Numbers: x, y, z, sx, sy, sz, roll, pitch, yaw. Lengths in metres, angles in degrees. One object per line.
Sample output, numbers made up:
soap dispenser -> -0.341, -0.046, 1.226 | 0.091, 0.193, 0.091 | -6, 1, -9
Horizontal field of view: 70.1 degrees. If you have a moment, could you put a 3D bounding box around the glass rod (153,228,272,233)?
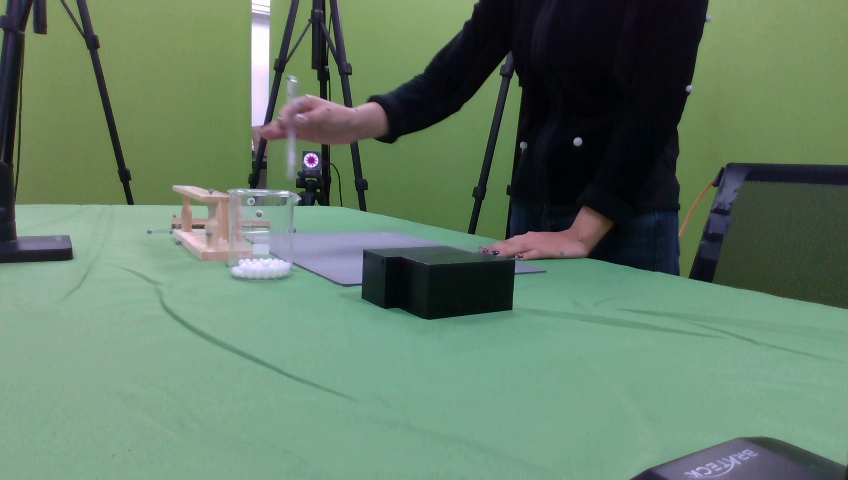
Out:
glass rod -> -0.368, -0.017, 1.065 | 0.201, 0.008, 0.008 | -2, 8, -27

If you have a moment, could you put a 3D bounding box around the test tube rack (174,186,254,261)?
test tube rack -> -0.314, -0.030, 0.889 | 0.067, 0.085, 0.241 | -2, 8, -30

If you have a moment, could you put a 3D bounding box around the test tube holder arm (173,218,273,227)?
test tube holder arm -> -0.371, -0.032, 1.128 | 0.179, 0.015, 0.013 | -1, -23, -25

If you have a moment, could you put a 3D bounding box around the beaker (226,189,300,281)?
beaker -> -0.184, -0.007, 0.694 | 0.084, 0.100, 0.073 | -1, 8, -29

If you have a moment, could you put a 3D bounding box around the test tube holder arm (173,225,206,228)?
test tube holder arm -> -0.414, -0.030, 1.113 | 0.088, 0.015, 0.010 | -1, -23, -25

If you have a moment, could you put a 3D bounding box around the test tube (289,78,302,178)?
test tube -> -0.189, -0.164, 0.889 | 0.017, 0.150, 0.017 | 0, -6, 0
